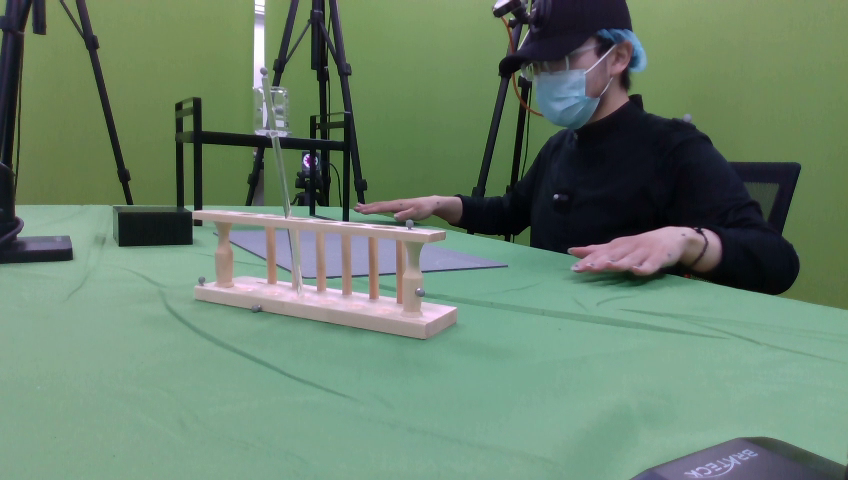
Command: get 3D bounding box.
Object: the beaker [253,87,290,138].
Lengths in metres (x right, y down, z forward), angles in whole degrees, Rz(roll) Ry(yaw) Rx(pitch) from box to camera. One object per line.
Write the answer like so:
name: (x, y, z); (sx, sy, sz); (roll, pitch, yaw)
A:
beaker: (-0.319, -0.265, 1.259); (0.073, 0.100, 0.084); (7, 9, 33)

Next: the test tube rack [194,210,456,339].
test tube rack: (-0.093, 0.023, 0.546); (0.241, 0.085, 0.067); (6, 8, 25)

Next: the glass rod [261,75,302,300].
glass rod: (-0.124, -0.043, 0.531); (0.008, 0.199, 0.008); (-7, 8, 1)
